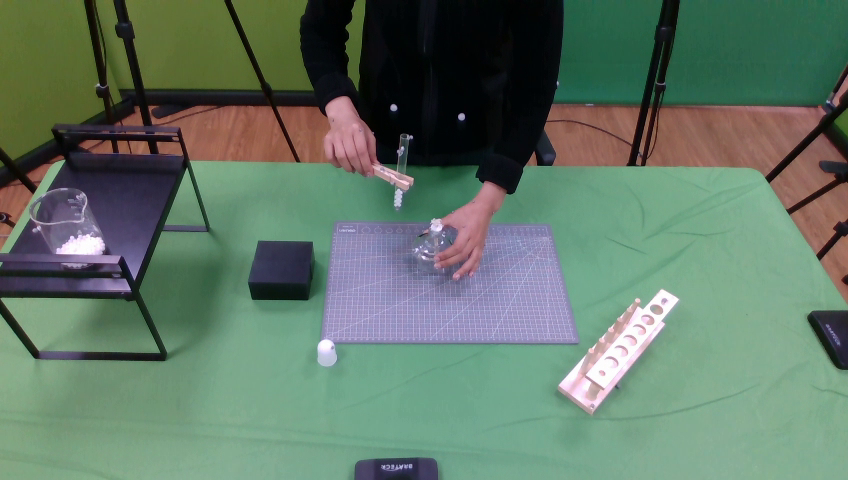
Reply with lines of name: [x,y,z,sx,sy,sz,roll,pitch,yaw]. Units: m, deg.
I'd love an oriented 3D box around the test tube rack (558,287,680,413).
test tube rack: [0.326,0.170,1.009,0.066,0.085,0.242,36,54,27]

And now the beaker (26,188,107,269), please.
beaker: [-0.504,-0.013,0.868,0.084,0.101,0.074,23,49,17]

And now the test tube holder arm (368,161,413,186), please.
test tube holder arm: [-0.061,-0.117,1.059,0.087,0.015,0.010,22,38,12]

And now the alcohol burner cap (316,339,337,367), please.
alcohol burner cap: [-0.161,0.182,0.995,0.034,0.048,0.033,2,47,-1]

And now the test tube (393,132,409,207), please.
test tube: [-0.041,-0.118,1.040,0.017,0.151,0.017,5,41,-4]

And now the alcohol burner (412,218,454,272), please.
alcohol burner: [0.018,0.003,1.104,0.078,0.119,0.077,2,50,-3]

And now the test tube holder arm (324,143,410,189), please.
test tube holder arm: [-0.102,-0.132,1.067,0.178,0.015,0.013,26,39,17]
